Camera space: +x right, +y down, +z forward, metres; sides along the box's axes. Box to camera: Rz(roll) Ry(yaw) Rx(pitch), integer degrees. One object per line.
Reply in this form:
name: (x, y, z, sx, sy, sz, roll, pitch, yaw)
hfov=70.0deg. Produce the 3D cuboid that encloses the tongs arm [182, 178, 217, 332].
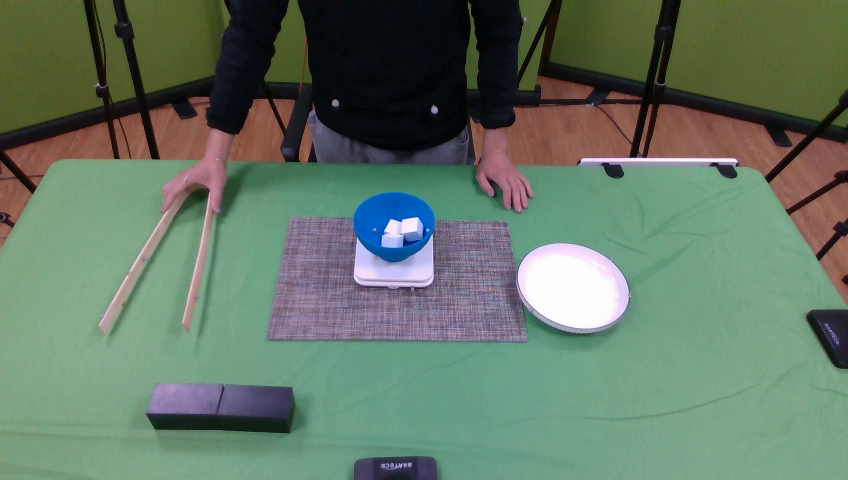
tongs arm: (-0.418, 0.012, 1.128, 0.028, 0.028, 0.385, -11, 45, 0)

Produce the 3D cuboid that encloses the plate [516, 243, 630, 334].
plate: (0.272, 0.092, 1.120, 0.208, 0.039, 0.206, 2, 46, -2)

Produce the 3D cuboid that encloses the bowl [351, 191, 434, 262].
bowl: (-0.057, -0.013, 1.119, 0.151, 0.077, 0.150, 1, 46, -1)

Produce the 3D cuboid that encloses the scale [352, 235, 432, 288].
scale: (-0.060, 0.010, 1.171, 0.149, 0.032, 0.199, 2, 46, -3)

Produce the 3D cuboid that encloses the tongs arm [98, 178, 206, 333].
tongs arm: (-0.495, 0.014, 1.131, 0.051, 0.027, 0.382, 0, 45, 6)
